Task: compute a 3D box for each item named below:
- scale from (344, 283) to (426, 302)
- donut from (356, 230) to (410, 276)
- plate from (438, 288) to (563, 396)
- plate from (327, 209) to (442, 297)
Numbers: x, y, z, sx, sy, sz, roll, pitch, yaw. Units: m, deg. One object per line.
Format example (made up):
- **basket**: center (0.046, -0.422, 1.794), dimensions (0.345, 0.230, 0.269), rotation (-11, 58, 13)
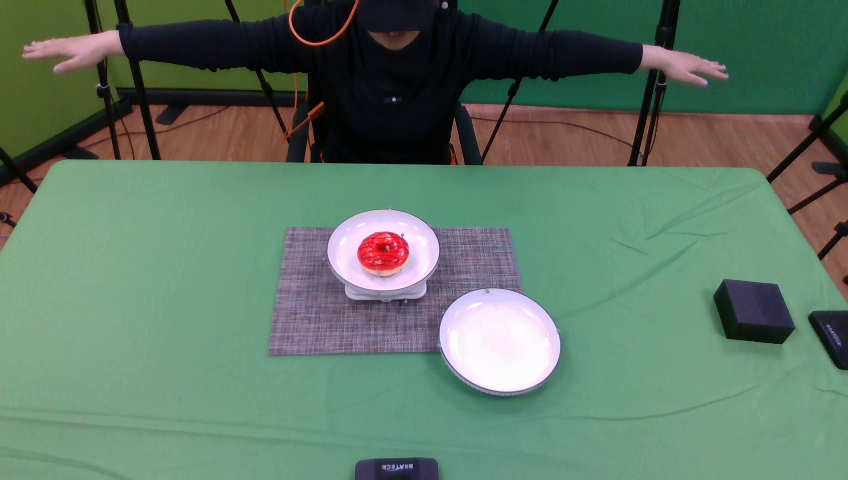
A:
- **scale**: center (-0.075, 0.033, 1.149), dimensions (0.149, 0.032, 0.199), rotation (0, 46, -5)
- **donut**: center (-0.073, 0.022, 1.097), dimensions (0.099, 0.048, 0.098), rotation (0, 45, 0)
- **plate**: center (0.127, 0.173, 1.025), dimensions (0.209, 0.038, 0.208), rotation (3, 48, -3)
- **plate**: center (-0.072, 0.027, 1.109), dimensions (0.208, 0.039, 0.206), rotation (2, 46, -2)
